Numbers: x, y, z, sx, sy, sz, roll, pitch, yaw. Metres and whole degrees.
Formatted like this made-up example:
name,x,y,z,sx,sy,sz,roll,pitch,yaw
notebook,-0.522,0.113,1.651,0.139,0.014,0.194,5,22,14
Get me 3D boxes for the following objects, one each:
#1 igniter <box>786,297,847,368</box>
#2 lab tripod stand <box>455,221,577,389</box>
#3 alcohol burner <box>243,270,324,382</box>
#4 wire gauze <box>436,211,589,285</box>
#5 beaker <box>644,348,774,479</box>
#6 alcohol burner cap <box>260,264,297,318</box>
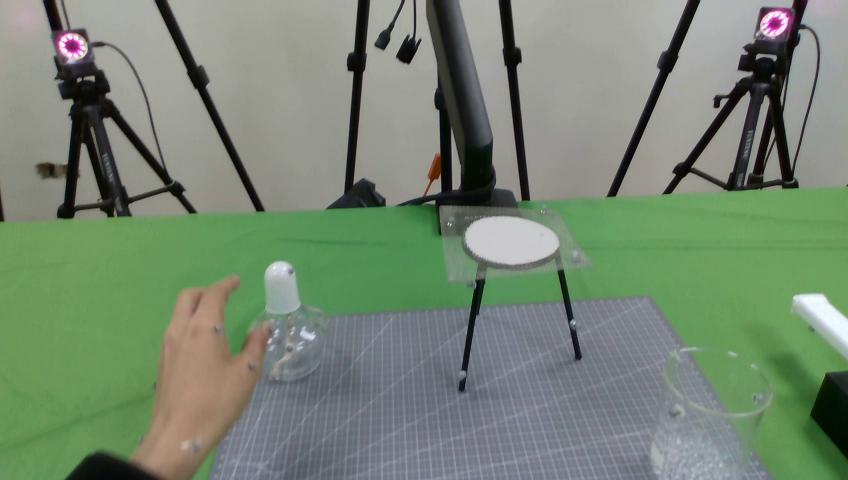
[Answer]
name,x,y,z,sx,sy,sz,roll,pitch,yaw
igniter,0.376,0.123,0.477,0.057,0.025,0.274,-3,26,0
lab tripod stand,0.080,0.058,0.585,0.148,0.132,0.147,0,28,0
alcohol burner,-0.136,0.077,0.581,0.078,0.120,0.077,0,32,0
wire gauze,0.073,0.002,0.548,0.121,0.011,0.124,-2,30,-3
beaker,0.210,0.143,0.464,0.074,0.101,0.083,-12,31,-17
alcohol burner cap,-0.137,0.045,0.564,0.034,0.048,0.033,1,24,0
